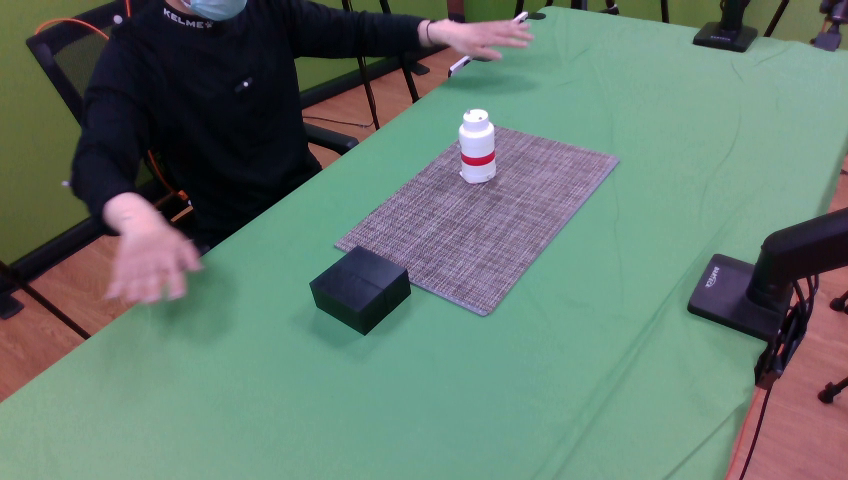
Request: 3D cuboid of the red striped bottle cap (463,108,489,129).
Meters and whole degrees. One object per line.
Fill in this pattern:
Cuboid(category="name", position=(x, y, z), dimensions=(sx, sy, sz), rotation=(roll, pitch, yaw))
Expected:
Cuboid(category="red striped bottle cap", position=(0.089, -0.208, 1.034), dimensions=(0.044, 0.018, 0.044), rotation=(-5, 43, 5))

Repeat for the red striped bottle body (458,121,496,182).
Cuboid(category="red striped bottle body", position=(0.094, -0.167, 1.068), dimensions=(0.063, 0.120, 0.062), rotation=(-5, 41, 4))
